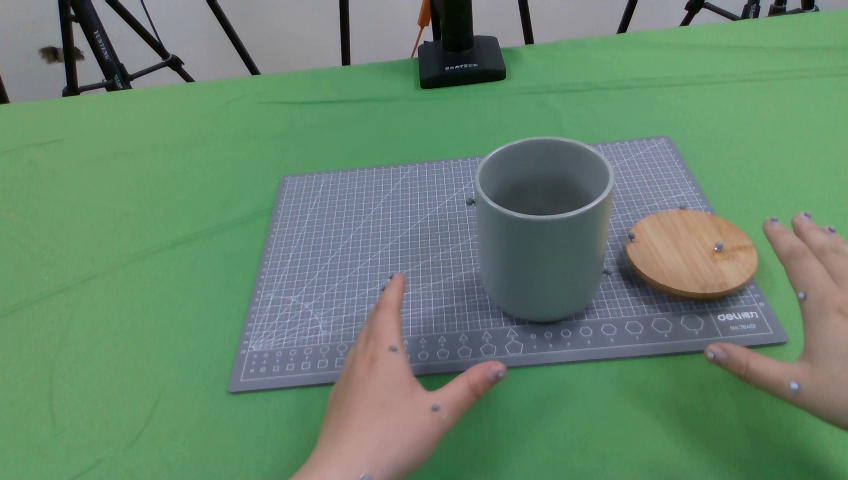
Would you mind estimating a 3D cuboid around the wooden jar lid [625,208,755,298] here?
[{"bbox_3d":[0.234,0.013,0.541,0.108,0.021,0.107,-5,41,5],"label":"wooden jar lid"}]

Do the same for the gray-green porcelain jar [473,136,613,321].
[{"bbox_3d":[0.096,-0.004,0.500,0.106,0.128,0.105,-4,43,4],"label":"gray-green porcelain jar"}]
